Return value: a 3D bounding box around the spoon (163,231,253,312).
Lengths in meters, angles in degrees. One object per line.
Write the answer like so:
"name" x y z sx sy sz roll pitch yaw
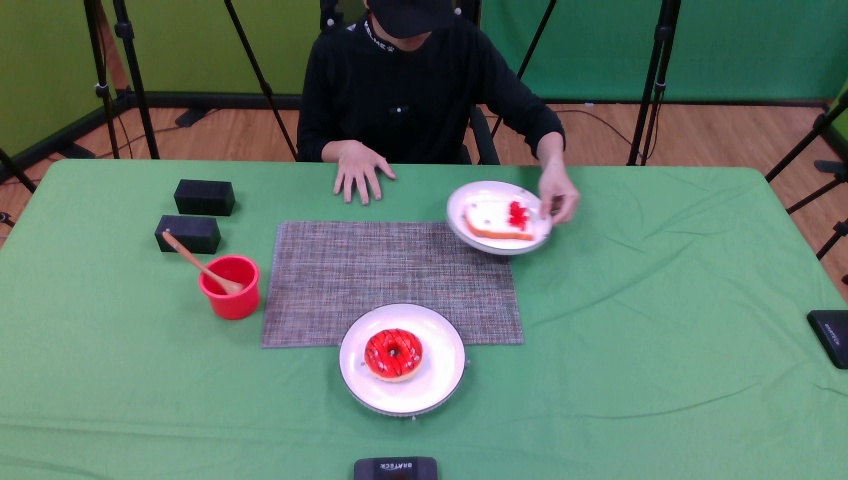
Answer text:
"spoon" -0.365 0.054 1.025 0.194 0.021 0.041 43 49 -18

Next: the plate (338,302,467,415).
"plate" -0.035 0.194 0.992 0.208 0.039 0.206 2 48 -2

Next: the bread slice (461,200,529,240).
"bread slice" 0.138 -0.041 1.187 0.132 0.019 0.104 3 43 -10

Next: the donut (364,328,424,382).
"donut" -0.049 0.185 0.983 0.099 0.048 0.098 1 45 -1

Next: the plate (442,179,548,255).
"plate" 0.137 -0.041 1.182 0.209 0.038 0.208 5 43 -5
